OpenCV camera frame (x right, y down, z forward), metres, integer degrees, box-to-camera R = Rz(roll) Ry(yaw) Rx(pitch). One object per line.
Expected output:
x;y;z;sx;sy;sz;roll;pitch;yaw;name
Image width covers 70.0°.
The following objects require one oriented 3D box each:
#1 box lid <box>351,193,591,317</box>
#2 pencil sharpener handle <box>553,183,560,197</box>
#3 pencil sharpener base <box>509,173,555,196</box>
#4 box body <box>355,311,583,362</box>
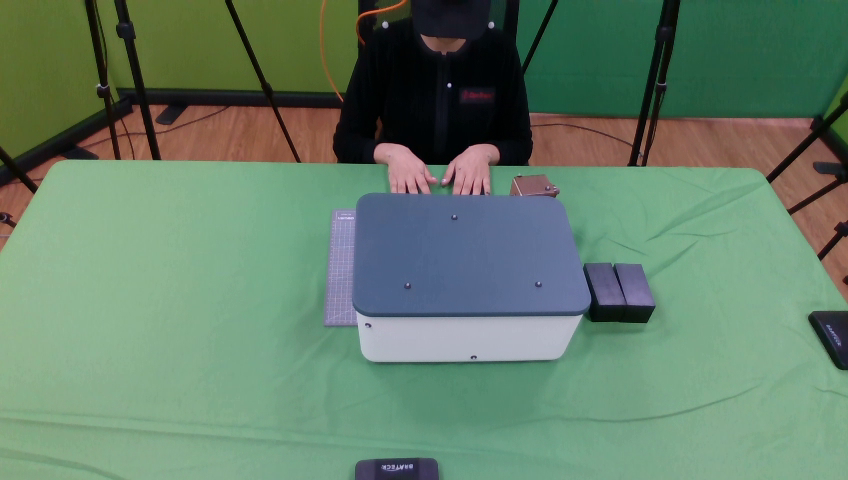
0.071;0.017;0.984;0.372;0.015;0.261;0;47;-4;box lid
0.267;-0.089;1.224;0.031;0.068;0.035;-6;44;-10;pencil sharpener handle
0.216;-0.075;1.224;0.077;0.107;0.061;-6;46;-10;pencil sharpener base
0.066;0.068;1.038;0.364;0.161;0.252;0;46;-4;box body
